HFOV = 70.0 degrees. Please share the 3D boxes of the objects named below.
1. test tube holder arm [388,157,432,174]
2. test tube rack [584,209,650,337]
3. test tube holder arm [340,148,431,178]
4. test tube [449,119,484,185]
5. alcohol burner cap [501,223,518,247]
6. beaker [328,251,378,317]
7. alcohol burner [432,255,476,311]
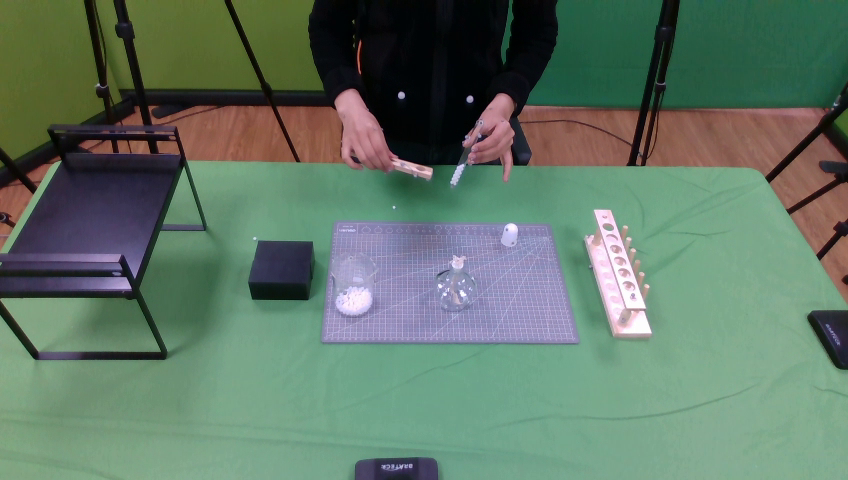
[{"bbox_3d":[-0.028,-0.136,1.126,0.088,0.015,0.010,16,51,7],"label":"test tube holder arm"},{"bbox_3d":[0.365,0.056,1.129,0.067,0.085,0.240,1,46,-3],"label":"test tube rack"},{"bbox_3d":[-0.073,-0.144,1.128,0.178,0.015,0.013,14,50,6],"label":"test tube holder arm"},{"bbox_3d":[0.076,-0.156,1.105,0.017,0.151,0.017,12,44,-12],"label":"test tube"},{"bbox_3d":[0.172,-0.013,1.206,0.034,0.048,0.033,1,45,-1],"label":"alcohol burner cap"},{"bbox_3d":[-0.123,0.079,1.055,0.084,0.101,0.073,0,47,-5],"label":"beaker"},{"bbox_3d":[0.055,0.070,1.068,0.078,0.119,0.077,3,45,-3],"label":"alcohol burner"}]
